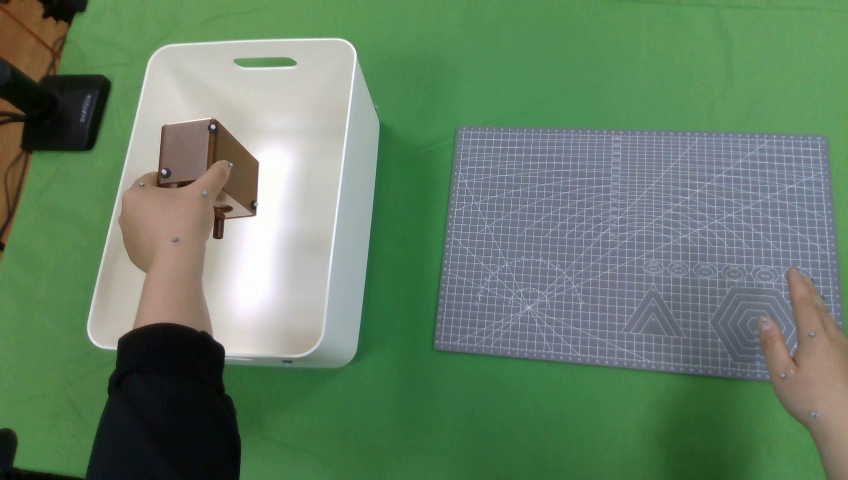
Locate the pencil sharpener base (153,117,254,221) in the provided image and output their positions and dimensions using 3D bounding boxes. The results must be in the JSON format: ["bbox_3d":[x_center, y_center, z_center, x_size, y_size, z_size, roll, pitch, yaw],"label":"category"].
[{"bbox_3d":[-0.230,-0.069,0.644,0.061,0.108,0.076,-6,71,8],"label":"pencil sharpener base"}]

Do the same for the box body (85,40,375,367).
[{"bbox_3d":[-0.204,-0.034,0.723,0.254,0.161,0.362,1,72,9],"label":"box body"}]

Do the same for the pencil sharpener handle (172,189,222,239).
[{"bbox_3d":[-0.228,-0.025,0.616,0.036,0.068,0.030,-8,70,14],"label":"pencil sharpener handle"}]
